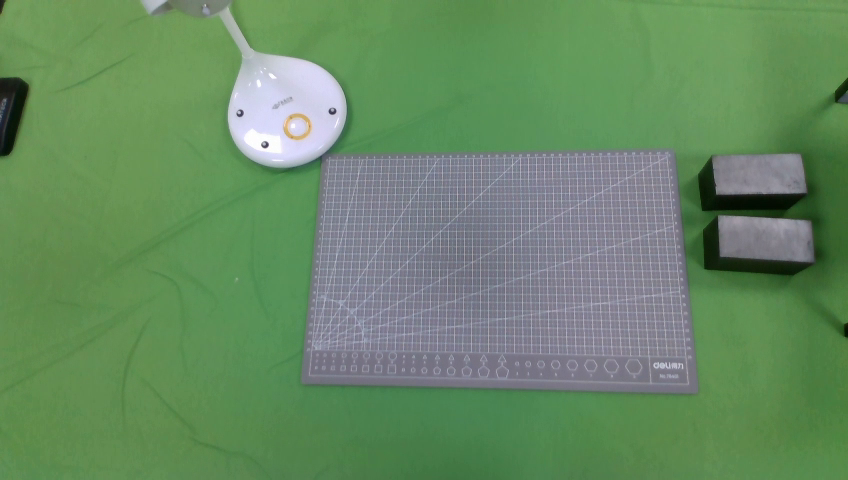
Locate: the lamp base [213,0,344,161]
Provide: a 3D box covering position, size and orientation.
[{"bbox_3d":[-0.202,-0.211,0.743,0.160,0.181,0.178,-40,71,-8],"label":"lamp base"}]

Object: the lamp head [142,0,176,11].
[{"bbox_3d":[-0.194,-0.253,0.457,0.112,0.111,0.124,-31,109,-5],"label":"lamp head"}]
